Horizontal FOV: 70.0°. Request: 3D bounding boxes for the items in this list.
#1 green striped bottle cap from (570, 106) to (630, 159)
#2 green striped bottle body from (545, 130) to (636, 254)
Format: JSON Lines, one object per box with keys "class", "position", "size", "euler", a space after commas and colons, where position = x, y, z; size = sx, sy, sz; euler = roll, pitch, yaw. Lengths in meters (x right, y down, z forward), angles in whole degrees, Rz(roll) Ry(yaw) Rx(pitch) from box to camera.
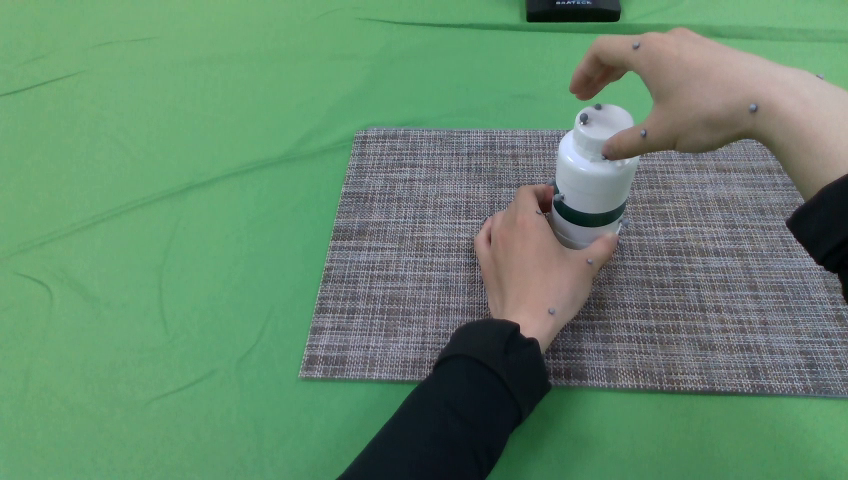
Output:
{"class": "green striped bottle cap", "position": [0.135, -0.083, 0.464], "size": [0.044, 0.020, 0.044], "euler": [-4, 48, 5]}
{"class": "green striped bottle body", "position": [0.138, -0.048, 0.507], "size": [0.063, 0.120, 0.062], "euler": [-2, 49, 2]}
